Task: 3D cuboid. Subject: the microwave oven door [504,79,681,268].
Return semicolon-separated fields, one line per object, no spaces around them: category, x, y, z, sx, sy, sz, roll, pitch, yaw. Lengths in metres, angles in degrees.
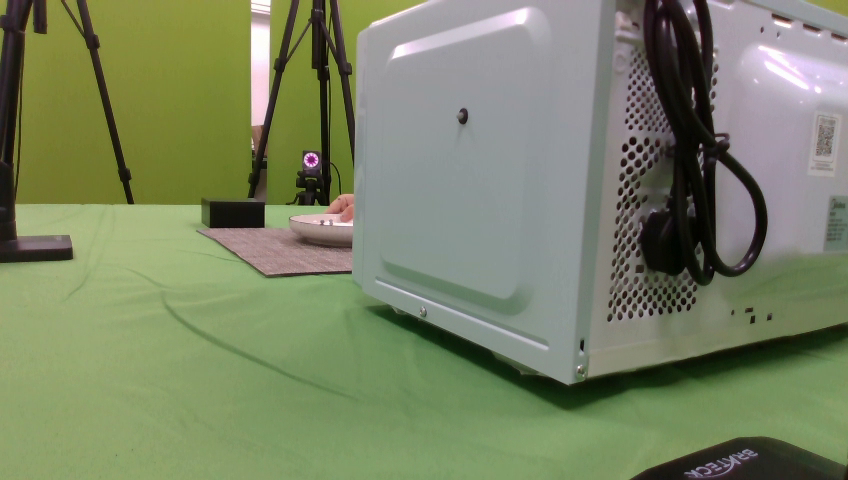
microwave oven door;0.235;-0.105;0.926;0.039;0.243;0.354;-1;8;-24

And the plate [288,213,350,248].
plate;-0.121;-0.017;1.008;0.209;0.038;0.209;3;8;0

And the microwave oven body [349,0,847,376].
microwave oven body;0.199;-0.053;0.540;0.444;0.260;0.324;-1;7;-32

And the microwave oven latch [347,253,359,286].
microwave oven latch;-0.034;0.028;0.581;0.079;0.029;0.030;-1;7;-31

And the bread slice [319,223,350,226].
bread slice;-0.121;-0.015;1.004;0.131;0.019;0.105;4;7;12
